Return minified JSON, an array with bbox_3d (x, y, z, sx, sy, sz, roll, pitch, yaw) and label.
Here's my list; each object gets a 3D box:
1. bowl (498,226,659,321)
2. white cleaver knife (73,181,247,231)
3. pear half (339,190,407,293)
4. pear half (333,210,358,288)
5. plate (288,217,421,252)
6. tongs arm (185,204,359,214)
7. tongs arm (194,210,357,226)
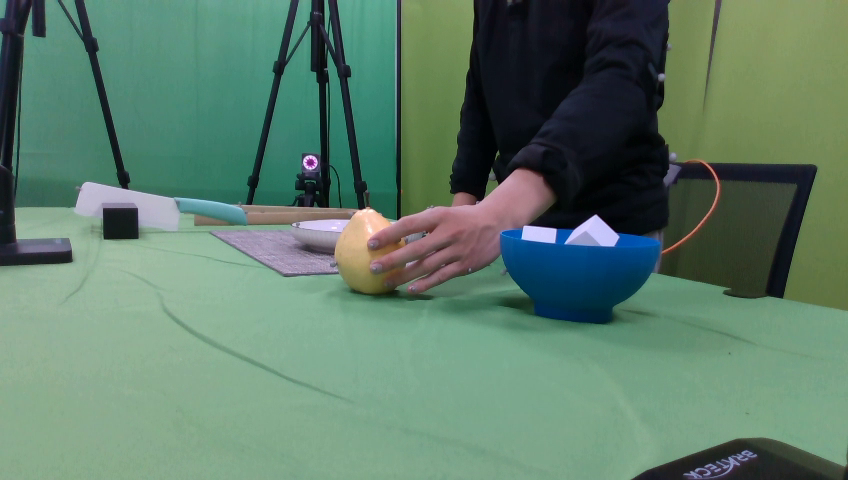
[{"bbox_3d":[0.145,0.032,0.584,0.151,0.077,0.151,2,7,0],"label":"bowl"},{"bbox_3d":[-0.465,-0.052,1.090,0.288,0.066,0.021,9,6,-30],"label":"white cleaver knife"},{"bbox_3d":[-0.049,0.002,0.640,0.055,0.110,0.076,5,20,33],"label":"pear half"},{"bbox_3d":[-0.077,0.008,0.662,0.031,0.088,0.071,6,20,33],"label":"pear half"},{"bbox_3d":[-0.109,-0.007,0.956,0.208,0.039,0.207,2,8,0],"label":"plate"},{"bbox_3d":[-0.337,-0.065,1.377,0.387,0.026,0.050,0,9,-25],"label":"tongs arm"},{"bbox_3d":[-0.298,-0.050,1.308,0.390,0.028,0.028,-3,7,-38],"label":"tongs arm"}]
